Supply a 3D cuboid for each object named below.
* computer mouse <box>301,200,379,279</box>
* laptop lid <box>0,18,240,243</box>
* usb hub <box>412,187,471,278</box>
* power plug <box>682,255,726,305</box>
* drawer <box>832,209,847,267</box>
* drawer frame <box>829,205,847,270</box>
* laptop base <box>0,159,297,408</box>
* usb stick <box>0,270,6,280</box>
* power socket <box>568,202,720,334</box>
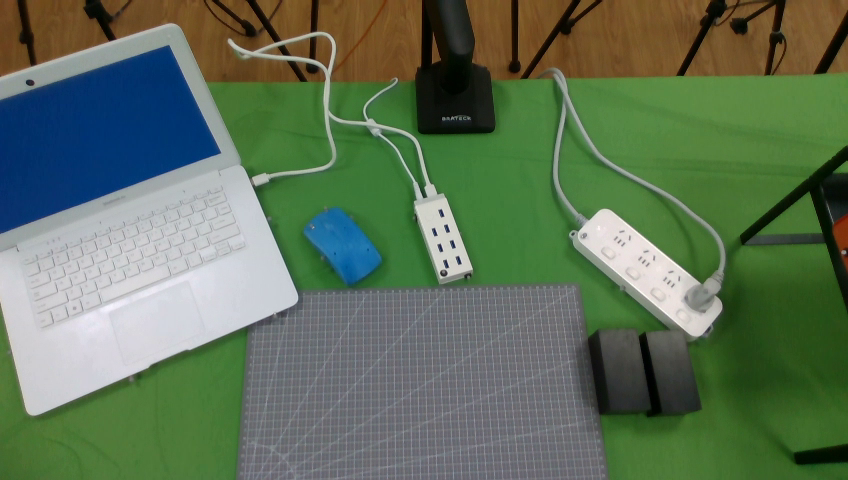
[{"bbox_3d":[-0.117,-0.004,0.834,0.063,0.041,0.116,-36,69,-14],"label":"computer mouse"},{"bbox_3d":[-0.435,-0.124,0.757,0.357,0.244,0.013,-24,55,-10],"label":"laptop lid"},{"bbox_3d":[0.022,-0.011,0.850,0.049,0.025,0.124,-16,69,-8],"label":"usb hub"},{"bbox_3d":[0.378,0.059,0.811,0.072,0.053,0.035,-31,71,-16],"label":"power plug"},{"bbox_3d":[0.567,0.045,0.623,0.212,0.074,0.193,-5,67,-4],"label":"drawer"},{"bbox_3d":[0.569,0.043,0.624,0.214,0.083,0.200,-5,67,-5],"label":"drawer frame"},{"bbox_3d":[-0.374,0.046,0.813,0.355,0.023,0.234,-23,73,-11],"label":"laptop base"},{"bbox_3d":[-0.580,0.053,0.788,0.059,0.027,0.021,-23,73,-16],"label":"usb stick"},{"bbox_3d":[0.304,0.037,0.837,0.225,0.033,0.072,43,72,15],"label":"power socket"}]
